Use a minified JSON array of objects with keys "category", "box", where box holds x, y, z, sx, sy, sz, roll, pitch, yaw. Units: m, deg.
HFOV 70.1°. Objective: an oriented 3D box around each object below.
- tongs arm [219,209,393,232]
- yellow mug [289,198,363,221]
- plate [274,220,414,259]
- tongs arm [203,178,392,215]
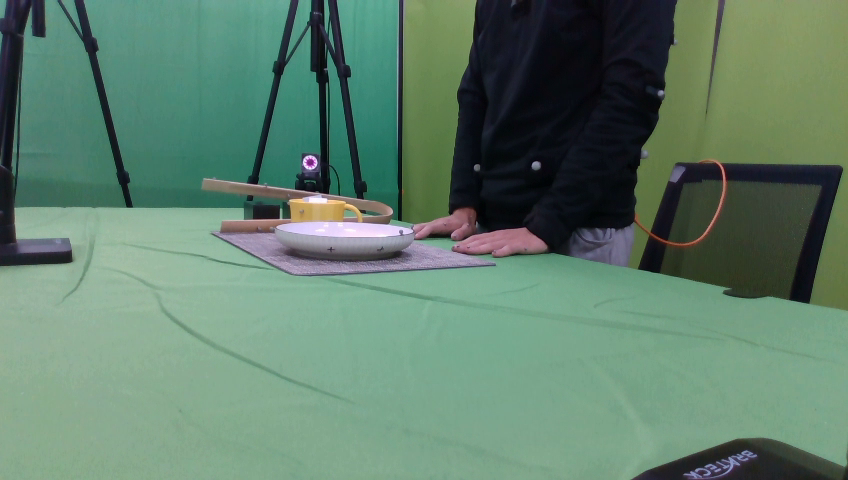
[{"category":"tongs arm","box":[-0.210,-0.037,1.182,0.390,0.028,0.028,-5,32,-41]},{"category":"yellow mug","box":[-0.174,-0.039,1.071,0.131,0.064,0.100,3,6,0]},{"category":"plate","box":[-0.118,-0.001,0.903,0.208,0.039,0.207,3,7,0]},{"category":"tongs arm","box":[-0.247,-0.083,1.239,0.387,0.026,0.050,5,30,-31]}]
